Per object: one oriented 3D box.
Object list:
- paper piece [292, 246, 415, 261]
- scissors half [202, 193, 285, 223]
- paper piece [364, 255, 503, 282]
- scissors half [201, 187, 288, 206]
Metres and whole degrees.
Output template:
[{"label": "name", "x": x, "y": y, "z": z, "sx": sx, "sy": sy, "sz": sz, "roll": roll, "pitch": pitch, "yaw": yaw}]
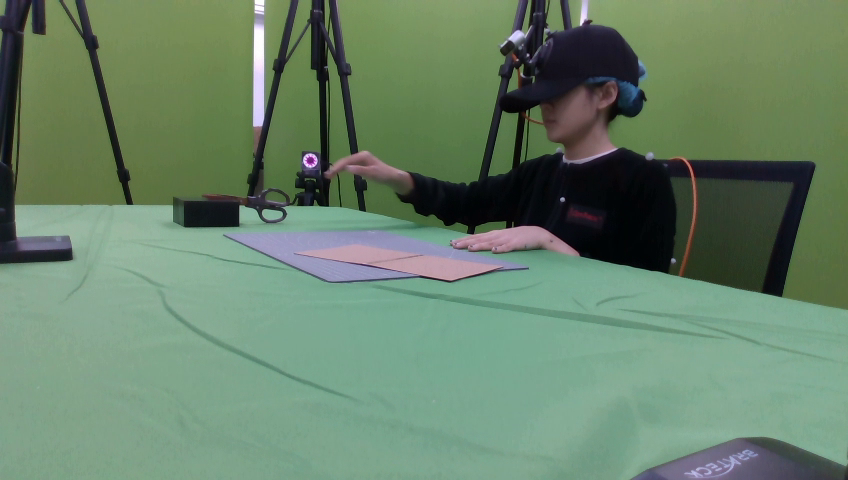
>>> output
[{"label": "paper piece", "x": -0.096, "y": 0.020, "z": 0.873, "sx": 0.137, "sy": 0.008, "sz": 0.137, "roll": 7, "pitch": 4, "yaw": 35}, {"label": "scissors half", "x": -0.365, "y": -0.069, "z": 1.228, "sx": 0.176, "sy": 0.040, "sz": 0.013, "roll": 18, "pitch": 3, "yaw": -36}, {"label": "paper piece", "x": 0.014, "y": 0.034, "z": 0.799, "sx": 0.135, "sy": 0.004, "sz": 0.136, "roll": 8, "pitch": 10, "yaw": 35}, {"label": "scissors half", "x": -0.360, "y": -0.088, "z": 1.224, "sx": 0.176, "sy": 0.040, "sz": 0.012, "roll": -3, "pitch": 20, "yaw": -33}]
